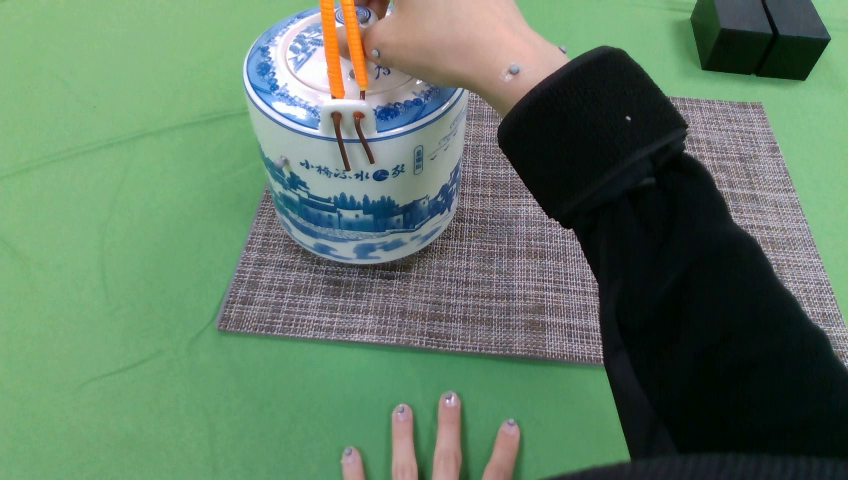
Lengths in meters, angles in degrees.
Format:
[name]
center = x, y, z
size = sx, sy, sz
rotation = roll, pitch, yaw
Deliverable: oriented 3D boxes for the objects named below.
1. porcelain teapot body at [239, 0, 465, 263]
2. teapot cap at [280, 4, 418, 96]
[porcelain teapot body]
center = -0.047, -0.119, 0.424
size = 0.145, 0.227, 0.203
rotation = 0, 52, -2
[teapot cap]
center = -0.046, -0.121, 0.375
size = 0.085, 0.044, 0.084
rotation = 1, 50, 0
